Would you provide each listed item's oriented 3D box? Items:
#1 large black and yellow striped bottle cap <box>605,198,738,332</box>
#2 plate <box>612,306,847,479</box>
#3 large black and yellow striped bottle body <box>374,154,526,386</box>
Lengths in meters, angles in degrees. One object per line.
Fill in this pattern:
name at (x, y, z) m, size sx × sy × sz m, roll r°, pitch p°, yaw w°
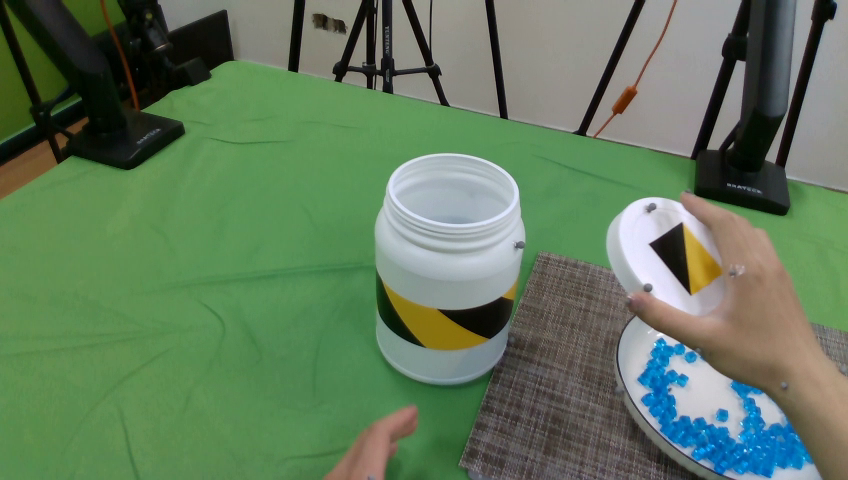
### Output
large black and yellow striped bottle cap at (0.197, 0.017, 0.480) m, size 0.115 × 0.019 × 0.114 m, roll 13°, pitch 55°, yaw -18°
plate at (0.272, 0.138, 0.545) m, size 0.208 × 0.039 × 0.205 m, roll 2°, pitch 39°, yaw -2°
large black and yellow striped bottle body at (0.021, 0.028, 0.550) m, size 0.131 × 0.185 × 0.129 m, roll 2°, pitch 39°, yaw -1°
